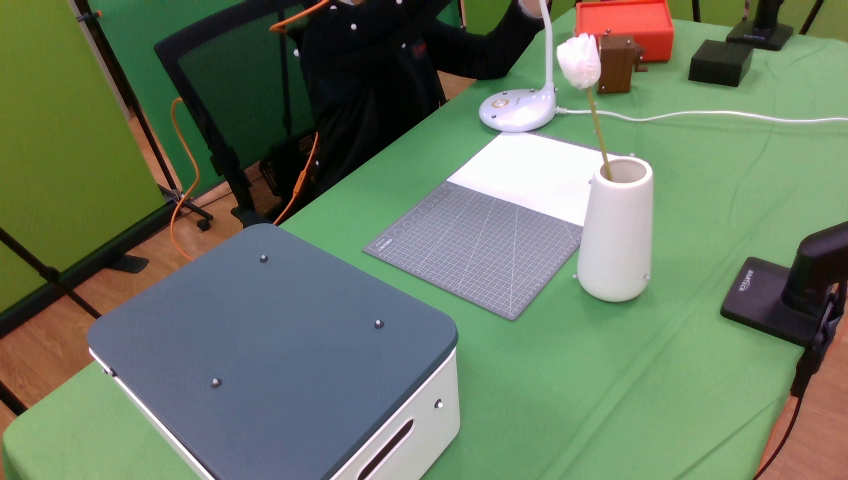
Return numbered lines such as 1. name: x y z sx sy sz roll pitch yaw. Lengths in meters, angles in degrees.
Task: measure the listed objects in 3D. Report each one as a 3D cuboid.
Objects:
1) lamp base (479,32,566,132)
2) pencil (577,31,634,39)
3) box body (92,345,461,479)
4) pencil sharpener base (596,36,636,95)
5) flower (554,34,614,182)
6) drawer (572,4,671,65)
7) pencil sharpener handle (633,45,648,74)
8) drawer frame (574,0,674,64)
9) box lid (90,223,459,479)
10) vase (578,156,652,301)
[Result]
1. lamp base: 0.200 -0.332 1.218 0.179 0.181 0.160 1 41 7
2. pencil: 0.430 -0.488 1.443 0.012 0.012 0.192 -25 30 -18
3. box body: -0.162 0.170 0.708 0.361 0.161 0.255 25 50 34
4. pencil sharpener base: 0.406 -0.369 1.280 0.076 0.107 0.061 1 41 13
5. flower: 0.237 -0.083 0.774 0.044 0.363 0.038 -22 26 6
6. drawer: 0.461 -0.490 1.434 0.211 0.073 0.194 2 40 12
7. pencil sharpener handle: 0.454 -0.378 1.262 0.030 0.068 0.036 1 47 13
8. drawer frame: 0.464 -0.492 1.434 0.213 0.083 0.201 1 40 12
9. box lid: -0.174 0.102 0.666 0.368 0.015 0.264 24 48 35
10. vase: 0.261 -0.011 0.812 0.098 0.201 0.097 -4 40 4
